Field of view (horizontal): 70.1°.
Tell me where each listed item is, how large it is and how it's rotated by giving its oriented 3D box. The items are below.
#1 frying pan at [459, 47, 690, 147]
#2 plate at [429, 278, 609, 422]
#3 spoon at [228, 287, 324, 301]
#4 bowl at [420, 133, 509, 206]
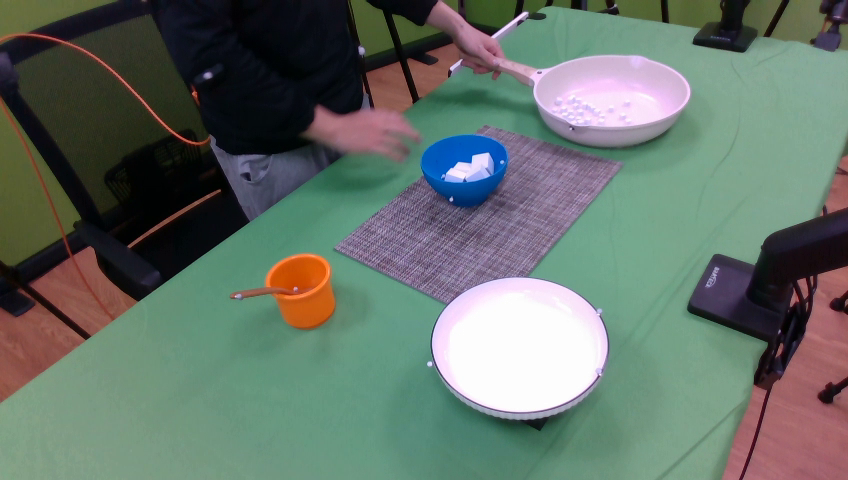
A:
[{"bbox_3d":[0.280,-0.317,1.234,0.485,0.103,0.307,28,50,23],"label":"frying pan"},{"bbox_3d":[0.111,0.129,0.716,0.207,0.039,0.206,-5,39,4],"label":"plate"},{"bbox_3d":[-0.197,0.071,0.816,0.041,0.195,0.021,14,89,23],"label":"spoon"},{"bbox_3d":[0.071,-0.112,1.038,0.151,0.077,0.150,-4,40,4],"label":"bowl"}]
